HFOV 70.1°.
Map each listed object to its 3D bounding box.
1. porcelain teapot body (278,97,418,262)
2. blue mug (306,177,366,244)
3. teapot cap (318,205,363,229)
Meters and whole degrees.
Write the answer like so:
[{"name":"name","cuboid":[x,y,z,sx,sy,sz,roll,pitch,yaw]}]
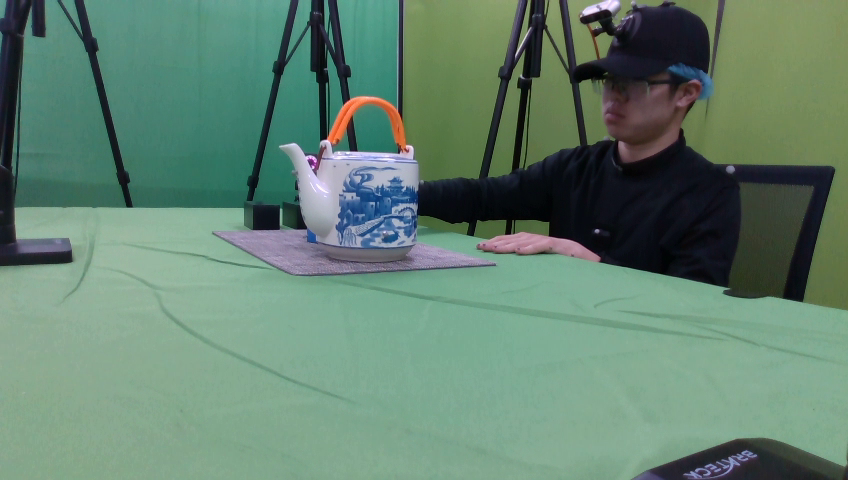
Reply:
[{"name":"porcelain teapot body","cuboid":[-0.104,-0.086,0.842,0.206,0.225,0.144,-4,10,-38]},{"name":"blue mug","cuboid":[-0.144,-0.052,1.027,0.082,0.106,0.117,9,10,42]},{"name":"teapot cap","cuboid":[-0.157,-0.044,1.138,0.085,0.044,0.085,0,3,0]}]
